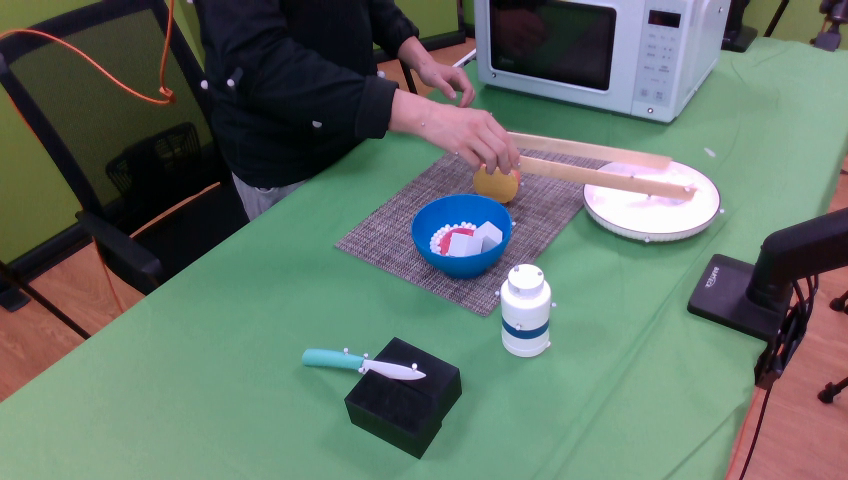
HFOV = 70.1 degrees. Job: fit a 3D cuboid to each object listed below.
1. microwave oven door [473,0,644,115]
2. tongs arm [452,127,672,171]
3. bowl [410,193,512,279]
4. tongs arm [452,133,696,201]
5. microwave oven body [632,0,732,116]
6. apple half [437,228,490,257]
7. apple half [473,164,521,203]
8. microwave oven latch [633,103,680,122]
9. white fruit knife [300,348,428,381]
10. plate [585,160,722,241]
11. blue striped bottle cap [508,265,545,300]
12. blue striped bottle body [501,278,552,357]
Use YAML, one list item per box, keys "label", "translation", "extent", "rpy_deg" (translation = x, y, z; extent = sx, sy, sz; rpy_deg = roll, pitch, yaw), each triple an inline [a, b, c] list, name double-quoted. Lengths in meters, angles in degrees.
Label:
- label: "microwave oven door"
  translation: [0.257, -0.396, 1.199]
  extent: [0.353, 0.245, 0.039]
  rpy_deg: [21, 48, 29]
- label: "tongs arm"
  translation: [0.224, -0.138, 0.941]
  extent: [0.390, 0.028, 0.028]
  rpy_deg: [4, 44, -19]
- label: "bowl"
  translation: [0.057, 0.005, 0.905]
  extent: [0.151, 0.077, 0.150]
  rpy_deg: [-4, 40, 4]
- label: "tongs arm"
  translation: [0.231, -0.106, 0.903]
  extent: [0.387, 0.026, 0.050]
  rpy_deg: [7, 40, -16]
- label: "microwave oven body"
  translation: [0.377, -0.463, 1.267]
  extent: [0.438, 0.261, 0.327]
  rpy_deg: [21, 48, 30]
- label: "apple half"
  translation: [0.056, 0.002, 0.902]
  extent: [0.081, 0.033, 0.081]
  rpy_deg: [-3, 41, 3]
- label: "apple half"
  translation: [0.128, -0.107, 1.030]
  extent: [0.080, 0.075, 0.053]
  rpy_deg: [5, 39, 20]
- label: "microwave oven latch"
  translation: [0.444, -0.249, 1.158]
  extent: [0.078, 0.029, 0.030]
  rpy_deg: [21, 49, 30]
- label: "white fruit knife"
  translation: [-0.079, 0.155, 0.748]
  extent: [0.206, 0.027, 0.016]
  rpy_deg: [0, 20, 34]
- label: "plate"
  translation: [0.367, -0.063, 0.979]
  extent: [0.207, 0.039, 0.206]
  rpy_deg: [-4, 41, 4]
- label: "blue striped bottle cap"
  translation: [0.125, 0.051, 0.735]
  extent: [0.044, 0.021, 0.044]
  rpy_deg: [-6, 38, 5]
- label: "blue striped bottle body"
  translation: [0.129, 0.089, 0.769]
  extent: [0.063, 0.121, 0.063]
  rpy_deg: [-4, 40, 4]
